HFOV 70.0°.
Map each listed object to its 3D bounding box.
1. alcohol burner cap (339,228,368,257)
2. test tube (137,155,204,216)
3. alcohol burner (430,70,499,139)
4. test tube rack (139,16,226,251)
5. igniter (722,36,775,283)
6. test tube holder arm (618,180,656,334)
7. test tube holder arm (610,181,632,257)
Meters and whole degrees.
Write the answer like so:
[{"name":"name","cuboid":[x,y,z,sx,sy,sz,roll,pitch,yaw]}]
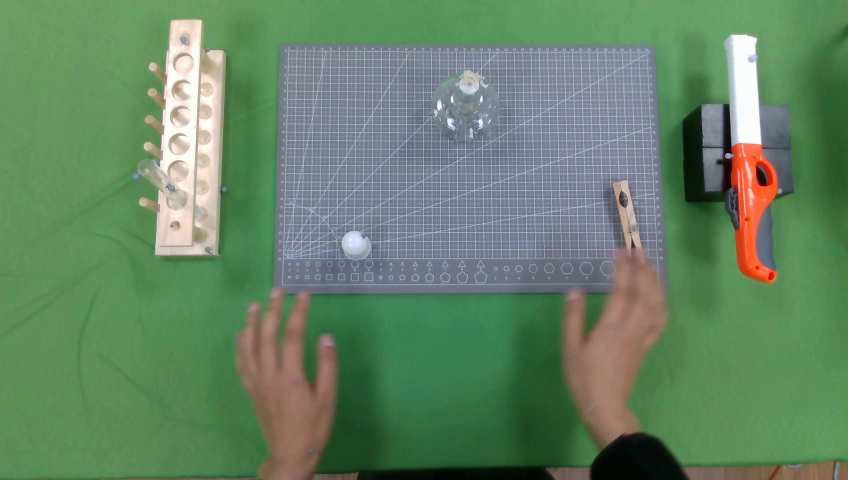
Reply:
[{"name":"alcohol burner cap","cuboid":[-0.080,0.001,0.674,0.034,0.048,0.033,0,82,-2]},{"name":"test tube","cuboid":[-0.250,-0.051,0.608,0.017,0.151,0.017,1,76,-2]},{"name":"alcohol burner","cuboid":[0.045,-0.154,0.662,0.078,0.119,0.077,0,83,1]},{"name":"test tube rack","cuboid":[-0.269,-0.112,0.666,0.067,0.085,0.241,0,82,-1]},{"name":"igniter","cuboid":[0.350,-0.091,0.658,0.057,0.025,0.275,2,79,-3]},{"name":"test tube holder arm","cuboid":[0.242,0.019,0.691,0.013,0.015,0.178,-13,85,20]},{"name":"test tube holder arm","cuboid":[0.228,-0.024,0.697,0.010,0.015,0.087,-13,85,21]}]
